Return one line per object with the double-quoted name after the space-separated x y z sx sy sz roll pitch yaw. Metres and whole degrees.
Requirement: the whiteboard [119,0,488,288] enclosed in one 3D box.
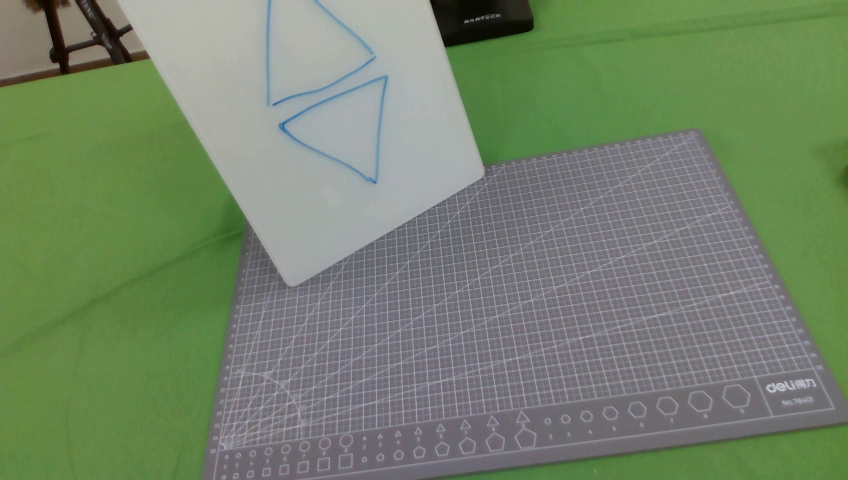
-0.108 -0.156 0.540 0.217 0.308 0.142 -31 31 -13 "whiteboard"
